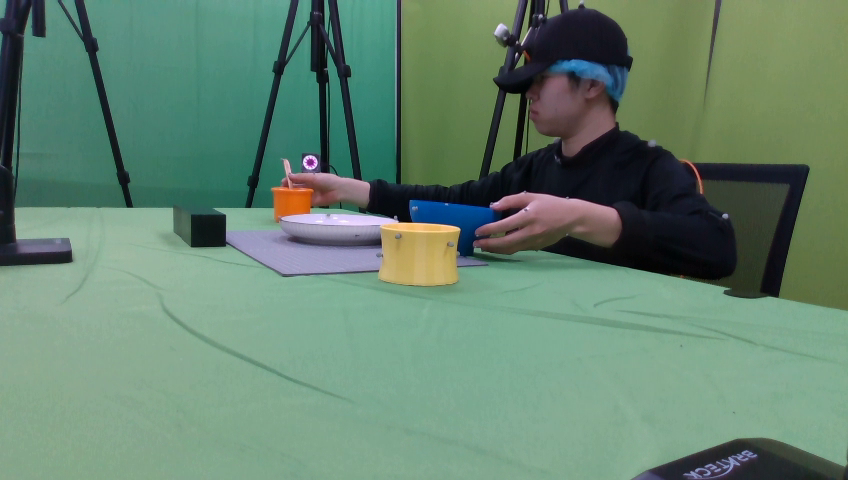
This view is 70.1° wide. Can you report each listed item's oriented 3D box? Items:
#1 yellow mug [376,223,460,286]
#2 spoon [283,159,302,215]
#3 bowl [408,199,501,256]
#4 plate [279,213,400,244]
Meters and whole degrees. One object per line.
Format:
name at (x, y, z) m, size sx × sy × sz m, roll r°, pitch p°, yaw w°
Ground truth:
yellow mug at (-0.002, 0.014, 0.754) m, size 0.099 × 0.064 × 0.131 m, roll 5°, pitch 7°, yaw 20°
spoon at (-0.303, -0.118, 1.369) m, size 0.042 × 0.193 × 0.021 m, roll 3°, pitch -38°, yaw -24°
bowl at (0.044, -0.018, 0.967) m, size 0.151 × 0.077 × 0.151 m, roll 7°, pitch 5°, yaw 0°
plate at (-0.147, -0.020, 1.060) m, size 0.209 × 0.038 × 0.209 m, roll 3°, pitch 7°, yaw 0°
